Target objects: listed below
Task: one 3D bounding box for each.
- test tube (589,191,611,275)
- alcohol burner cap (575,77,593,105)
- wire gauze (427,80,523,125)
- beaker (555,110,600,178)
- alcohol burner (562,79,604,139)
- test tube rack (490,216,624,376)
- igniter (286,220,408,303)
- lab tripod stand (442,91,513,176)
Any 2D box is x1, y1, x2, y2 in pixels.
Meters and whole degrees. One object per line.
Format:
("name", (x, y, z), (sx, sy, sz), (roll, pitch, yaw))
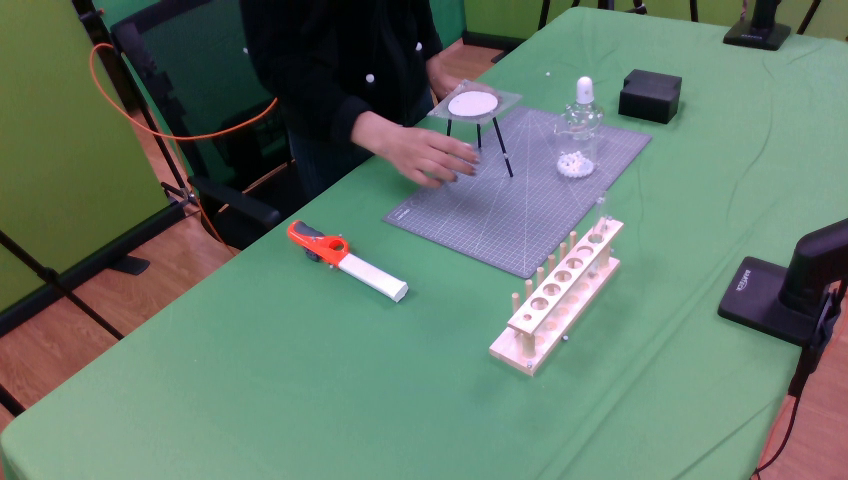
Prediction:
("test tube", (0.237, -0.006, 0.817), (0.017, 0.151, 0.017), (-4, 45, 4))
("alcohol burner cap", (0.297, -0.279, 1.123), (0.034, 0.048, 0.033), (-8, 41, 8))
("wire gauze", (0.088, -0.238, 1.050), (0.120, 0.011, 0.125), (22, 49, 30))
("beaker", (0.266, -0.165, 1.061), (0.084, 0.101, 0.073), (-24, 42, -16))
("alcohol burner", (0.303, -0.253, 1.146), (0.078, 0.119, 0.077), (-4, 41, 4))
("test tube rack", (0.184, 0.064, 0.822), (0.066, 0.085, 0.243), (24, 50, 33))
("igniter", (-0.133, 0.028, 0.968), (0.274, 0.025, 0.057), (27, 62, 35))
("lab tripod stand", (0.096, -0.190, 1.096), (0.148, 0.132, 0.147), (-4, 40, 4))
